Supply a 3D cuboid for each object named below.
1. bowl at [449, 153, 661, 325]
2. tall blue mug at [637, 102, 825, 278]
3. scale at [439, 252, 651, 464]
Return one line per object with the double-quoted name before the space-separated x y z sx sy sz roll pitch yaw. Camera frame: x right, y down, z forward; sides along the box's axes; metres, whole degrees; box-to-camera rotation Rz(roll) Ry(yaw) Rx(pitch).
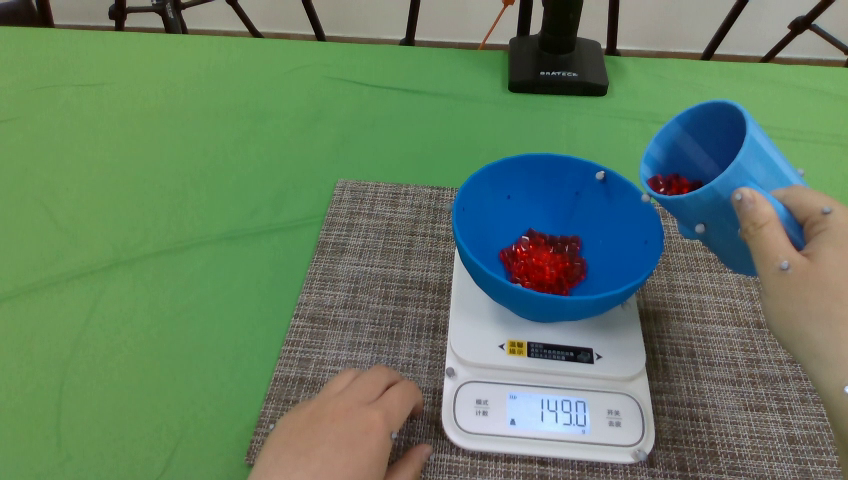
"bowl" 0.092 0.011 0.458 0.151 0.077 0.150 1 46 -1
"tall blue mug" 0.217 -0.029 0.404 0.077 0.109 0.106 -60 29 -8
"scale" 0.092 0.071 0.475 0.148 0.032 0.199 4 47 4
